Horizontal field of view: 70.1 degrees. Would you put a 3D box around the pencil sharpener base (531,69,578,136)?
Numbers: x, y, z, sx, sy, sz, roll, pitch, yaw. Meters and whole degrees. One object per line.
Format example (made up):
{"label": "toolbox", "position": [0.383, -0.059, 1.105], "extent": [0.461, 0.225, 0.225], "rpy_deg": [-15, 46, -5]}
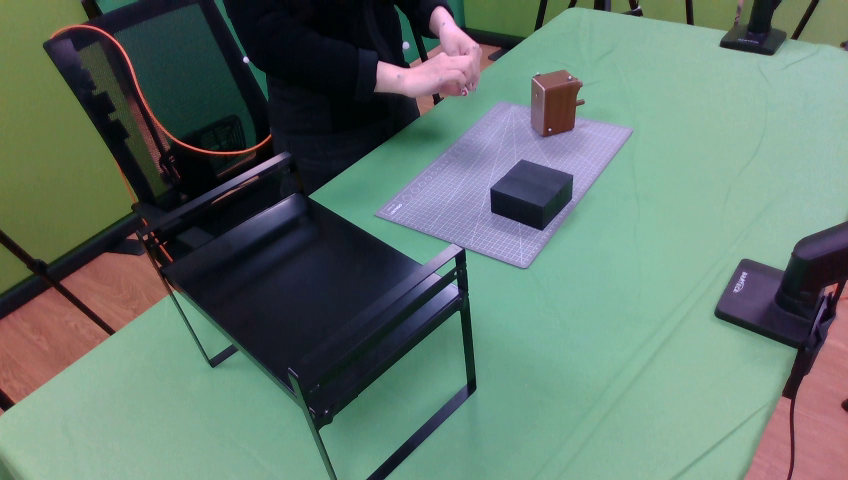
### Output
{"label": "pencil sharpener base", "position": [0.256, -0.268, 1.179], "extent": [0.077, 0.107, 0.061], "rpy_deg": [-15, 41, -9]}

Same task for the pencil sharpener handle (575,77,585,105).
{"label": "pencil sharpener handle", "position": [0.303, -0.292, 1.181], "extent": [0.031, 0.068, 0.035], "rpy_deg": [-15, 48, -9]}

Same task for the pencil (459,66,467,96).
{"label": "pencil", "position": [0.069, -0.292, 1.098], "extent": [0.012, 0.012, 0.193], "rpy_deg": [-4, 29, 4]}
